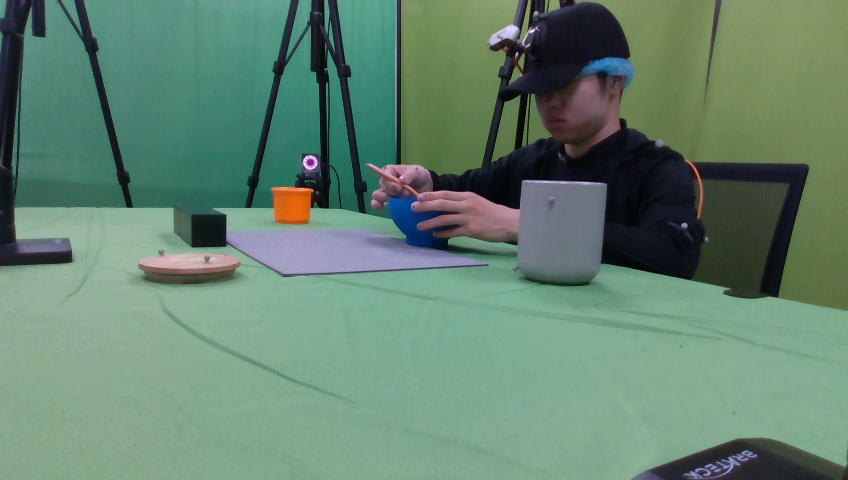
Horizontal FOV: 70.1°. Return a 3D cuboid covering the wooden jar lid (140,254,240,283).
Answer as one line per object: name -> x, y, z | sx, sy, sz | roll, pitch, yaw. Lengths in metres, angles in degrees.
wooden jar lid -> -0.269, 0.032, 0.698 | 0.108, 0.020, 0.108 | 2, 5, 0

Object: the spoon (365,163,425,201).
spoon -> -0.023, -0.082, 1.062 | 0.193, 0.021, 0.042 | 38, 25, 7

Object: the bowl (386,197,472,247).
bowl -> 0.006, -0.031, 1.051 | 0.151, 0.077, 0.151 | 5, 5, 0

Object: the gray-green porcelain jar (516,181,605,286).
gray-green porcelain jar -> 0.172, -0.010, 0.768 | 0.106, 0.126, 0.106 | 2, 7, 0
